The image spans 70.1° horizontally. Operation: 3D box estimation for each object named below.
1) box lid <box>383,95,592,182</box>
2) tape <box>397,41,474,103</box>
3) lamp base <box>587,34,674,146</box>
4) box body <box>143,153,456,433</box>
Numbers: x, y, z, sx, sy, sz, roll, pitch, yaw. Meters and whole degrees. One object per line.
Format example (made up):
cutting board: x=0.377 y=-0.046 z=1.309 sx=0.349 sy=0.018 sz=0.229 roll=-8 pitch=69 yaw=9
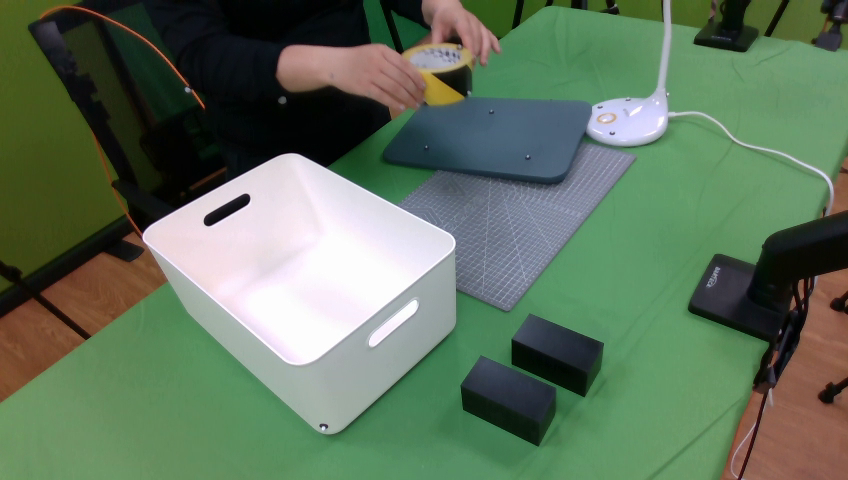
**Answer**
box lid: x=0.128 y=-0.211 z=1.192 sx=0.369 sy=0.015 sz=0.263 roll=9 pitch=45 yaw=22
tape: x=0.018 y=-0.256 z=0.916 sx=0.117 sy=0.053 sz=0.116 roll=-3 pitch=39 yaw=3
lamp base: x=0.392 y=-0.291 z=1.129 sx=0.180 sy=0.181 sz=0.159 roll=-11 pitch=41 yaw=-8
box body: x=-0.158 y=0.054 z=0.819 sx=0.361 sy=0.161 sz=0.255 roll=29 pitch=52 yaw=34
